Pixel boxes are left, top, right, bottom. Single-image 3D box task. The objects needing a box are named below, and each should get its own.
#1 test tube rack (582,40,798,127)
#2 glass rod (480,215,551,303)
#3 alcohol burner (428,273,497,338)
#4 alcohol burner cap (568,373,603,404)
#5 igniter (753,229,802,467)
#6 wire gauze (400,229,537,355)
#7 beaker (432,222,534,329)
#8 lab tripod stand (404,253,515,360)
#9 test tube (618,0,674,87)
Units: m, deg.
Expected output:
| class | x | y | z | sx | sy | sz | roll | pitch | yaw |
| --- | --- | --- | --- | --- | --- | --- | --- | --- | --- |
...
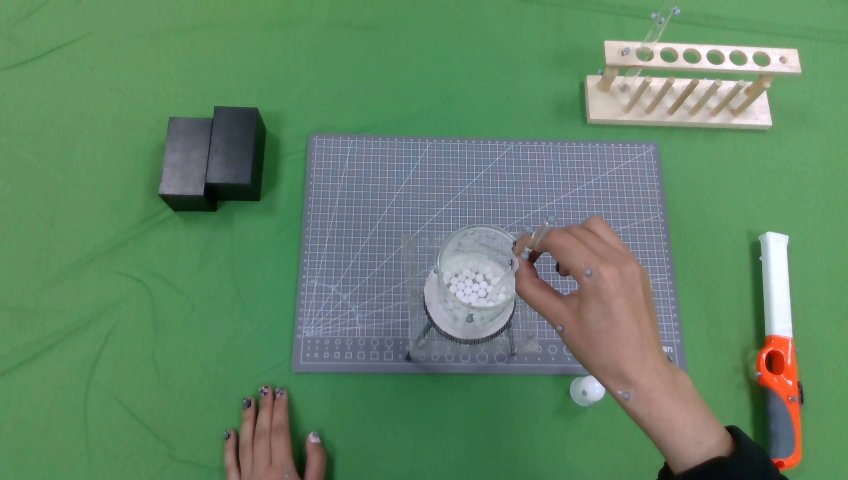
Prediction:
| class | x | y | z | sx | sy | sz | roll | pitch | yaw |
| --- | --- | --- | --- | --- | --- | --- | --- | --- | --- |
| test tube rack | 0.335 | -0.197 | 0.772 | 0.242 | 0.085 | 0.066 | 1 | 71 | -2 |
| glass rod | 0.067 | 0.022 | 0.481 | 0.008 | 0.200 | 0.008 | 3 | 69 | -7 |
| alcohol burner | 0.043 | 0.068 | 0.653 | 0.078 | 0.119 | 0.077 | 2 | 70 | -4 |
| alcohol burner cap | 0.181 | 0.163 | 0.670 | 0.034 | 0.048 | 0.033 | 1 | 70 | -2 |
| igniter | 0.408 | 0.119 | 0.703 | 0.057 | 0.025 | 0.275 | 11 | 72 | -10 |
| wire gauze | 0.041 | 0.048 | 0.579 | 0.125 | 0.011 | 0.120 | -2 | 70 | -1 |
| beaker | 0.047 | 0.036 | 0.533 | 0.084 | 0.101 | 0.073 | -3 | 71 | -4 |
| lab tripod stand | 0.038 | 0.072 | 0.641 | 0.148 | 0.132 | 0.147 | 0 | 71 | -1 |
| test tube | 0.264 | -0.233 | 0.728 | 0.017 | 0.151 | 0.017 | 1 | 68 | -1 |
